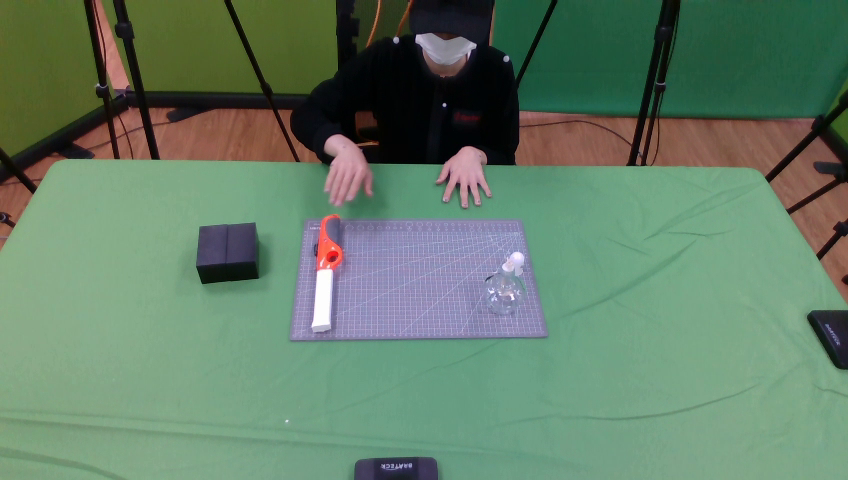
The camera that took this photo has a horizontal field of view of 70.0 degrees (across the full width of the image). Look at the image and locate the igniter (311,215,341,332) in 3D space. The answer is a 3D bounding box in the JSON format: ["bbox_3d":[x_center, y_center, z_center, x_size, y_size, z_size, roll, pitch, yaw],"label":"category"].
[{"bbox_3d":[-0.183,0.052,1.124,0.057,0.025,0.274,-7,46,3],"label":"igniter"}]

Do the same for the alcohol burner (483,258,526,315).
[{"bbox_3d":[0.143,0.076,1.067,0.078,0.120,0.077,1,45,-1],"label":"alcohol burner"}]

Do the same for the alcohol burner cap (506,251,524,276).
[{"bbox_3d":[0.175,0.043,1.151,0.034,0.048,0.033,1,46,-1],"label":"alcohol burner cap"}]
